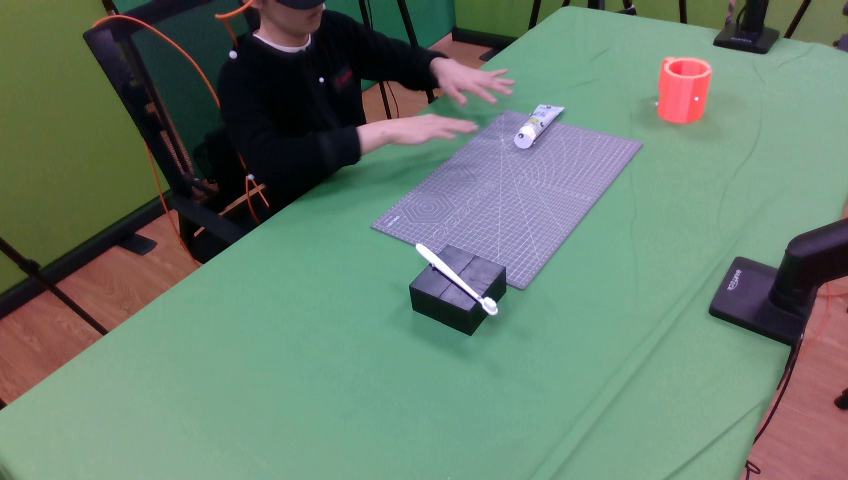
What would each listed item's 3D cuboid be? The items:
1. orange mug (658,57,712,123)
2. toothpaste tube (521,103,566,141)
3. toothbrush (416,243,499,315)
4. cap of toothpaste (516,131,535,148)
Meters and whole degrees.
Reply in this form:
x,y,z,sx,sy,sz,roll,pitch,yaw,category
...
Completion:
x,y,z,sx,sy,sz,roll,pitch,yaw,category
0.504,-0.304,1.193,0.083,0.101,0.125,-13,45,-5,orange mug
0.234,-0.238,1.209,0.055,0.034,0.165,19,43,21,toothpaste tube
0.043,0.049,0.842,0.014,0.017,0.180,-31,45,-21,toothbrush
0.194,-0.193,1.153,0.037,0.037,0.011,8,44,17,cap of toothpaste
